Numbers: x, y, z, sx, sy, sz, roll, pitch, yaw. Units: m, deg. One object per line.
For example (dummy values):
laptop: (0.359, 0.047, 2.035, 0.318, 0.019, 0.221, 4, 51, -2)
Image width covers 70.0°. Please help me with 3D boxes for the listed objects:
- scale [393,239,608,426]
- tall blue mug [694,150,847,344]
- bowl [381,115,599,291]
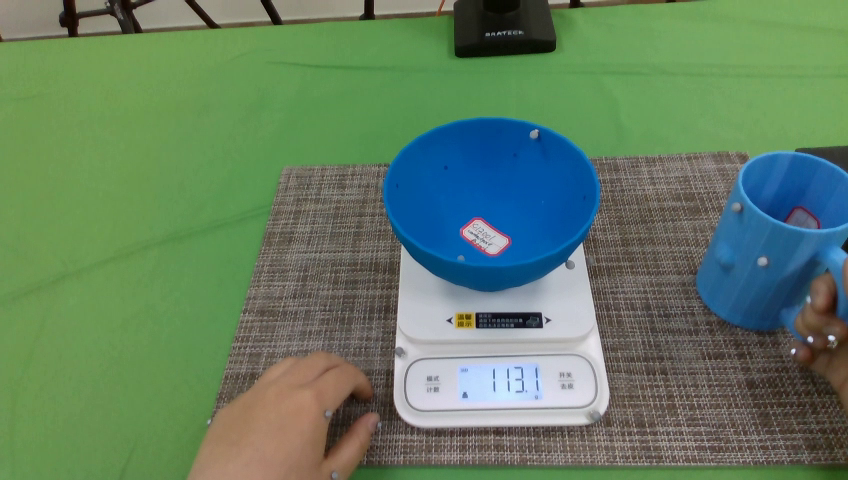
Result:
scale: (0.053, 0.043, 0.466, 0.148, 0.032, 0.199, -2, 49, 4)
tall blue mug: (0.257, 0.010, 0.424, 0.078, 0.109, 0.106, -36, 55, -24)
bowl: (0.047, -0.015, 0.447, 0.151, 0.077, 0.150, -2, 49, 3)
